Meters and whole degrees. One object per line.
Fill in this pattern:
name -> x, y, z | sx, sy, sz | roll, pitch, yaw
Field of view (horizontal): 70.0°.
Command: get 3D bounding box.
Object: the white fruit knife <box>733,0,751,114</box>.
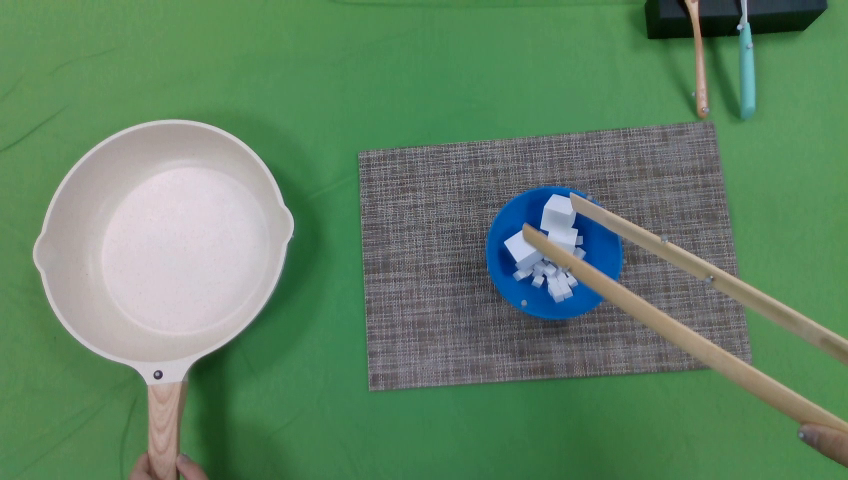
white fruit knife -> 0.384, -0.260, 0.739 | 0.016, 0.027, 0.207 | -5, 96, 8

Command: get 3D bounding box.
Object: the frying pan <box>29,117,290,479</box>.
frying pan -> -0.296, 0.097, 0.696 | 0.307, 0.103, 0.484 | -6, 71, 2

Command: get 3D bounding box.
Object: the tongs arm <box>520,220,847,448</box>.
tongs arm -> 0.213, 0.070, 0.485 | 0.028, 0.028, 0.383 | -33, 42, -21

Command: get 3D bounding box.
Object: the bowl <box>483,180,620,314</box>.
bowl -> 0.141, 0.014, 0.701 | 0.151, 0.077, 0.150 | 0, 79, 2

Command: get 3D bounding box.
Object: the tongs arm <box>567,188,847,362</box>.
tongs arm -> 0.244, 0.048, 0.496 | 0.051, 0.027, 0.380 | -35, 43, -18

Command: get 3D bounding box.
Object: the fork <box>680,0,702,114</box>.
fork -> 0.325, -0.259, 0.742 | 0.028, 0.018, 0.208 | -12, 100, -4
